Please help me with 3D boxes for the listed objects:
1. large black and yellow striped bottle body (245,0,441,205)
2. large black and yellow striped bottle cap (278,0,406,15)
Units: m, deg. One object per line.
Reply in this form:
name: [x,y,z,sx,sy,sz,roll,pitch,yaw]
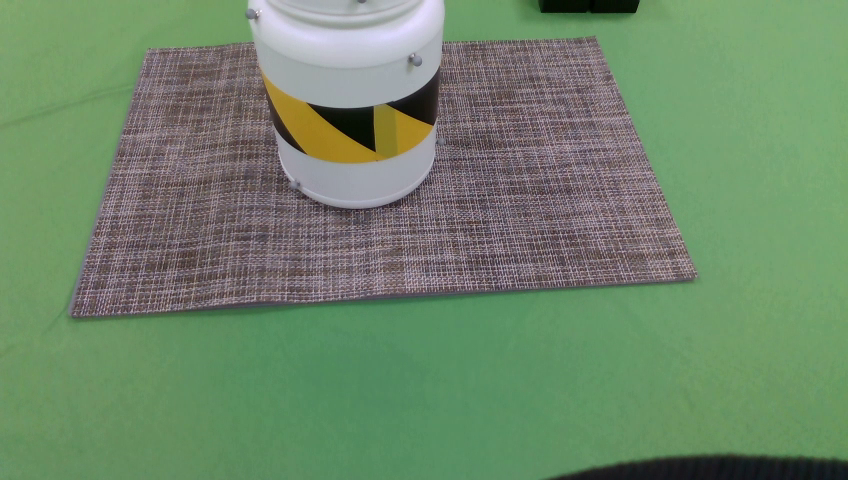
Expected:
large black and yellow striped bottle body: [-0.054,-0.130,0.441,0.131,0.185,0.129,2,53,-2]
large black and yellow striped bottle cap: [-0.050,-0.181,0.374,0.115,0.019,0.114,1,55,-2]
